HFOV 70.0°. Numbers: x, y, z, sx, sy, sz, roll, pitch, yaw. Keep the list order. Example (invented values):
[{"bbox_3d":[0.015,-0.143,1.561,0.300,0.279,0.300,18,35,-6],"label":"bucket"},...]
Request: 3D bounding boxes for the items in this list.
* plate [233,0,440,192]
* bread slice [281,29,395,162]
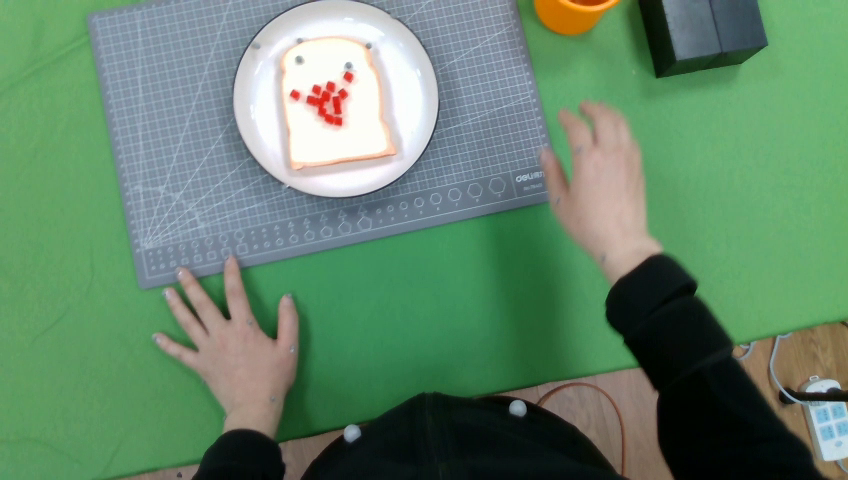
[{"bbox_3d":[-0.088,-0.150,0.625,0.209,0.038,0.208,0,85,-3],"label":"plate"},{"bbox_3d":[-0.096,-0.150,0.625,0.107,0.018,0.134,-12,86,-5],"label":"bread slice"}]
